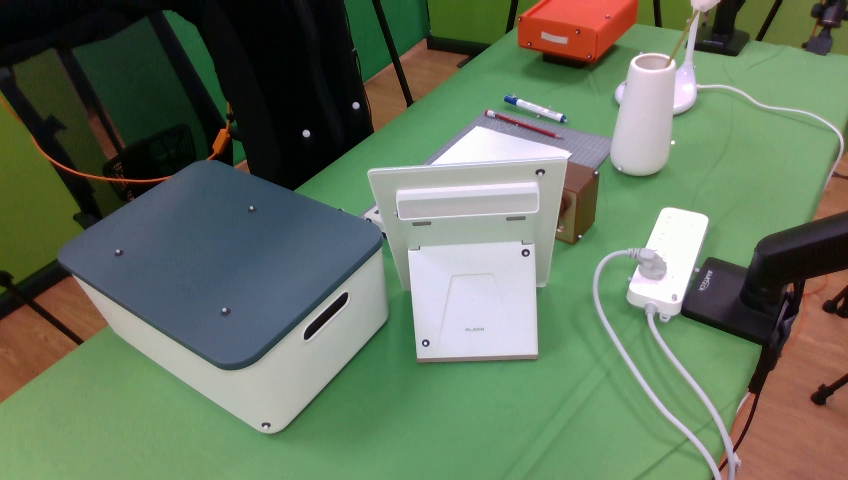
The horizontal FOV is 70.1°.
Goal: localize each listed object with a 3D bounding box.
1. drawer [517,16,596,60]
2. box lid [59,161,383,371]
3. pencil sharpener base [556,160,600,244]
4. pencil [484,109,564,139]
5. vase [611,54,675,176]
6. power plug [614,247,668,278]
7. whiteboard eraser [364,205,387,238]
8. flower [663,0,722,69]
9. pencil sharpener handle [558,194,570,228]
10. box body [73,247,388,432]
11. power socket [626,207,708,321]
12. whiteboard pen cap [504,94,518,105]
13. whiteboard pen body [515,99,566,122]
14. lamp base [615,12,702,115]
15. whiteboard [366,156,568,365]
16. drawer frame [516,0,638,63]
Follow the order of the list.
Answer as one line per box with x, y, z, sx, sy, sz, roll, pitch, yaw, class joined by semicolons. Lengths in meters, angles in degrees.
0.353;-0.506;1.405;0.193;0.073;0.212;23;49;32;drawer
-0.262;0.010;0.777;0.369;0.015;0.264;21;48;29;box lid
0.228;-0.057;0.945;0.061;0.107;0.077;24;50;31;pencil sharpener base
0.201;-0.235;1.229;0.192;0.012;0.012;28;51;32;pencil
0.377;-0.209;1.031;0.098;0.201;0.097;-3;40;3;vase
0.306;0.031;0.851;0.072;0.053;0.035;24;49;33;power plug
-0.040;-0.025;0.991;0.112;0.042;0.056;21;49;29;whiteboard eraser
0.379;-0.261;0.965;0.044;0.362;0.038;20;53;5;flower
0.195;-0.038;0.908;0.035;0.068;0.031;24;50;30;pencil sharpener handle
-0.255;0.065;0.827;0.361;0.161;0.255;21;48;29;box body
0.359;0.025;0.886;0.072;0.033;0.227;16;46;26;power socket
0.189;-0.299;1.292;0.033;0.018;0.018;30;52;28;whiteboard pen cap
0.234;-0.274;1.262;0.139;0.017;0.017;28;51;29;whiteboard pen body
0.484;-0.363;1.211;0.180;0.181;0.159;-15;41;-14;lamp base
0.059;0.050;0.738;0.217;0.307;0.143;-2;60;6;whiteboard
0.355;-0.508;1.410;0.200;0.083;0.214;23;51;32;drawer frame
